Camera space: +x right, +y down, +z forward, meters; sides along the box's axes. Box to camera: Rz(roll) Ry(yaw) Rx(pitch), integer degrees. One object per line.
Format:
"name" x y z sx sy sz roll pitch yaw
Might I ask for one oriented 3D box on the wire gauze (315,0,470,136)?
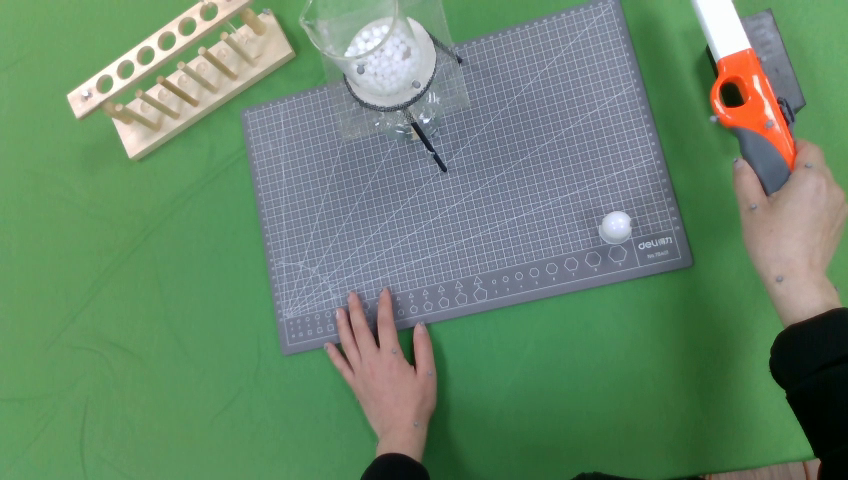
"wire gauze" -0.032 -0.166 0.554 0.125 0.011 0.121 -14 84 8

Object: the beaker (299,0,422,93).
"beaker" -0.048 -0.171 0.508 0.084 0.101 0.074 0 84 13

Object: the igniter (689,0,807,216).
"igniter" 0.269 -0.154 0.528 0.057 0.025 0.275 -18 78 14

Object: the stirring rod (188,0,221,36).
"stirring rod" -0.256 -0.267 0.630 0.006 0.177 0.014 -30 72 1

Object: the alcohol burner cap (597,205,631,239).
"alcohol burner cap" 0.190 -0.020 0.604 0.034 0.048 0.034 -2 82 12

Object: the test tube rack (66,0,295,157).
"test tube rack" -0.282 -0.197 0.708 0.242 0.085 0.066 -31 78 8

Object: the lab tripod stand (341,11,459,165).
"lab tripod stand" -0.017 -0.157 0.617 0.148 0.132 0.148 -1 84 11

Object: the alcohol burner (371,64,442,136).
"alcohol burner" -0.022 -0.151 0.628 0.078 0.119 0.077 -1 82 11
